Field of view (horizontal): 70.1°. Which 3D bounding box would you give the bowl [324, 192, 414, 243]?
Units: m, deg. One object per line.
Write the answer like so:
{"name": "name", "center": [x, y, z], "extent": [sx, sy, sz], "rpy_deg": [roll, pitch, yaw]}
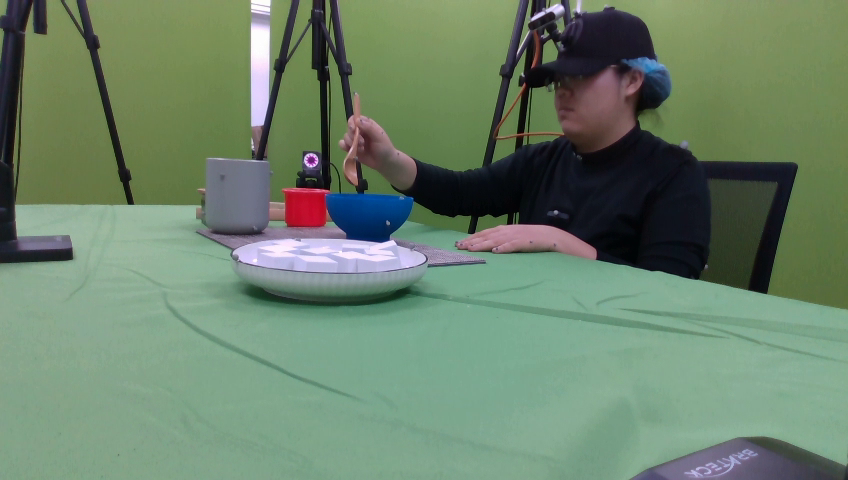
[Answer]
{"name": "bowl", "center": [-0.094, -0.037, 1.015], "extent": [0.151, 0.077, 0.151], "rpy_deg": [3, 7, 0]}

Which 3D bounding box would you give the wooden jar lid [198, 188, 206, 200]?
{"name": "wooden jar lid", "center": [-0.382, -0.088, 1.175], "extent": [0.108, 0.020, 0.108], "rpy_deg": [3, 8, 0]}

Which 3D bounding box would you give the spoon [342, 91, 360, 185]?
{"name": "spoon", "center": [-0.125, -0.187, 1.090], "extent": [0.021, 0.193, 0.042], "rpy_deg": [-9, -25, 30]}

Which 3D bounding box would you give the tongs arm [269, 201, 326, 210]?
{"name": "tongs arm", "center": [-0.308, -0.073, 1.410], "extent": [0.386, 0.026, 0.050], "rpy_deg": [3, 8, -6]}

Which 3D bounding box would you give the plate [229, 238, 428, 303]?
{"name": "plate", "center": [-0.099, 0.032, 0.651], "extent": [0.209, 0.038, 0.209], "rpy_deg": [3, 8, 0]}

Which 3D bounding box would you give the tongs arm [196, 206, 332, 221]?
{"name": "tongs arm", "center": [-0.294, -0.057, 1.330], "extent": [0.389, 0.028, 0.028], "rpy_deg": [0, 5, -20]}

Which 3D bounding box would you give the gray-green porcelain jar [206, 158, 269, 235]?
{"name": "gray-green porcelain jar", "center": [-0.322, -0.076, 1.048], "extent": [0.106, 0.126, 0.106], "rpy_deg": [3, 7, 0]}
